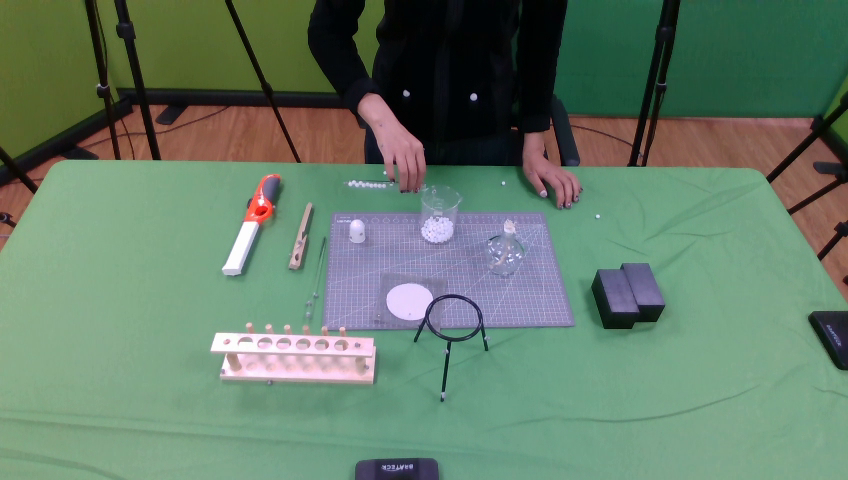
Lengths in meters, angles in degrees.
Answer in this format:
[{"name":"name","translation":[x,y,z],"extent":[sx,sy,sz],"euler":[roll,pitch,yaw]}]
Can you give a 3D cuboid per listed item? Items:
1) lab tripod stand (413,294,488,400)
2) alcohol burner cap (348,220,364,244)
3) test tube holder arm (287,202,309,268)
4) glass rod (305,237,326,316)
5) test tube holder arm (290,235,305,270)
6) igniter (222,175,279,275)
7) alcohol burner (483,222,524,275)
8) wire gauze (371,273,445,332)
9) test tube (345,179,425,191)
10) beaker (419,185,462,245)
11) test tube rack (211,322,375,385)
[{"name":"lab tripod stand","translation":[0.045,0.159,0.972],"extent":[0.148,0.132,0.147],"euler":[2,44,-2]},{"name":"alcohol burner cap","translation":[-0.134,-0.019,1.190],"extent":[0.034,0.048,0.033],"euler":[2,46,-2]},{"name":"test tube holder arm","translation":[-0.247,-0.013,1.193],"extent":[0.013,0.015,0.177],"euler":[29,39,-27]},{"name":"glass rod","translation":[-0.202,0.064,1.131],"extent":[0.008,0.008,0.198],"euler":[3,43,0]},{"name":"test tube holder arm","translation":[-0.243,0.021,1.164],"extent":[0.010,0.015,0.087],"euler":[30,38,-26]},{"name":"igniter","translation":[-0.341,-0.039,1.206],"extent":[0.057,0.025,0.275],"euler":[-1,45,9]},{"name":"alcohol burner","translation":[0.152,0.010,1.136],"extent":[0.078,0.119,0.077],"euler":[4,46,-4]},{"name":"wire gauze","translation":[-0.028,0.109,1.100],"extent":[0.125,0.011,0.121],"euler":[8,45,4]},{"name":"test tube","translation":[-0.072,-0.104,1.139],"extent":[0.150,0.017,0.017],"euler":[2,46,-3]},{"name":"beaker","translation":[0.029,-0.047,1.191],"extent":[0.084,0.101,0.073],"euler":[-5,47,-10]},{"name":"test tube rack","translation":[-0.202,0.176,0.969],"extent":[0.242,0.085,0.066],"euler":[3,46,-2]}]
